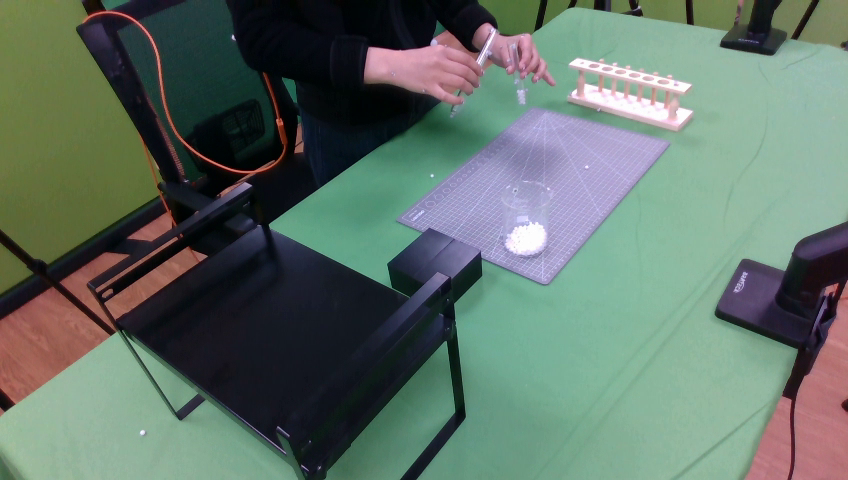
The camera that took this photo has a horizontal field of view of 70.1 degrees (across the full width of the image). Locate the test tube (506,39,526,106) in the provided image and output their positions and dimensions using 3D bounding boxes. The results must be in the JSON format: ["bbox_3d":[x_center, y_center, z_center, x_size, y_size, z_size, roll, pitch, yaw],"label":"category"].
[{"bbox_3d":[0.165,-0.295,1.077,0.017,0.151,0.017,-8,56,13],"label":"test tube"}]

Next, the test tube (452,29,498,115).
[{"bbox_3d":[0.083,-0.276,0.999,0.017,0.150,0.017,26,7,-3],"label":"test tube"}]

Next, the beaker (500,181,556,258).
[{"bbox_3d":[0.159,-0.030,0.922,0.084,0.100,0.073,-13,41,-8],"label":"beaker"}]

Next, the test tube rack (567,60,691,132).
[{"bbox_3d":[0.411,-0.299,1.217,0.240,0.085,0.067,26,51,34],"label":"test tube rack"}]
